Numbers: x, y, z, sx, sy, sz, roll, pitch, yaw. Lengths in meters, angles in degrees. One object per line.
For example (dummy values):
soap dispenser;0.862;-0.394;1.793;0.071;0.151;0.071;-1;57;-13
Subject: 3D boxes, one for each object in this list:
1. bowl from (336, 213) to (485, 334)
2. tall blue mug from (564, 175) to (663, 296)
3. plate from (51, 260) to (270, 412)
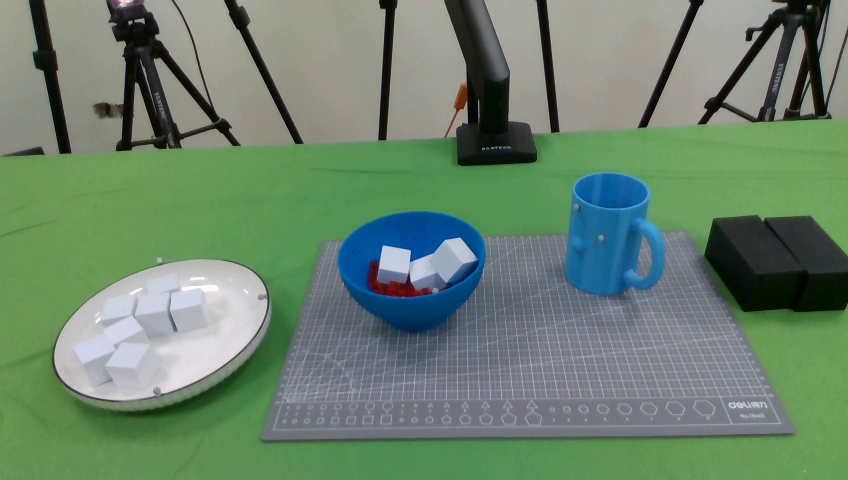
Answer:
bowl;-0.011;0.044;0.627;0.151;0.077;0.150;-3;35;2
tall blue mug;0.205;0.000;0.641;0.106;0.109;0.077;18;40;27
plate;-0.260;0.096;0.617;0.209;0.038;0.207;-2;35;2
